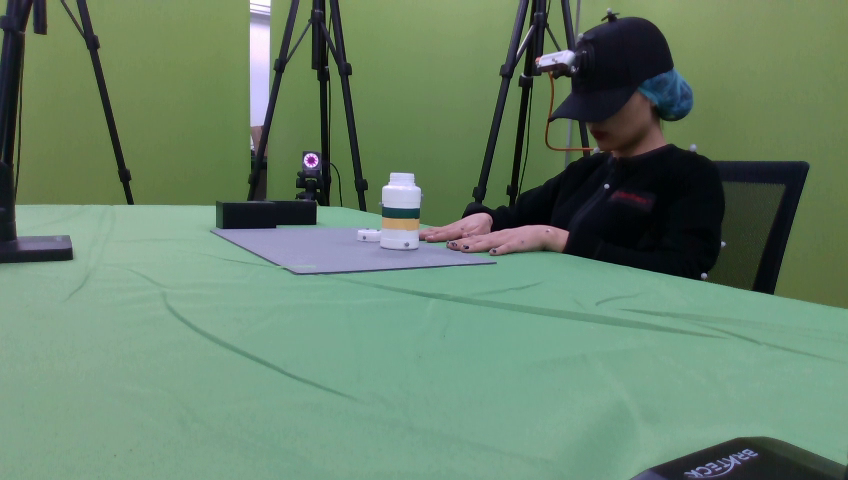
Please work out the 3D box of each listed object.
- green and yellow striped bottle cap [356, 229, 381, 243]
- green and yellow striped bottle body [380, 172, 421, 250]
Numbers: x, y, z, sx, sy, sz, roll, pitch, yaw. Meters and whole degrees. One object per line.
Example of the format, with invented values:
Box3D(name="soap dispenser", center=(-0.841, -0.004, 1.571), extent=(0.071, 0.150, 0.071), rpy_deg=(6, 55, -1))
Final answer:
Box3D(name="green and yellow striped bottle cap", center=(-0.094, -0.007, 1.040), extent=(0.045, 0.020, 0.045), rpy_deg=(4, 6, 0))
Box3D(name="green and yellow striped bottle body", center=(-0.037, -0.048, 0.959), extent=(0.063, 0.119, 0.063), rpy_deg=(3, 7, 0))
